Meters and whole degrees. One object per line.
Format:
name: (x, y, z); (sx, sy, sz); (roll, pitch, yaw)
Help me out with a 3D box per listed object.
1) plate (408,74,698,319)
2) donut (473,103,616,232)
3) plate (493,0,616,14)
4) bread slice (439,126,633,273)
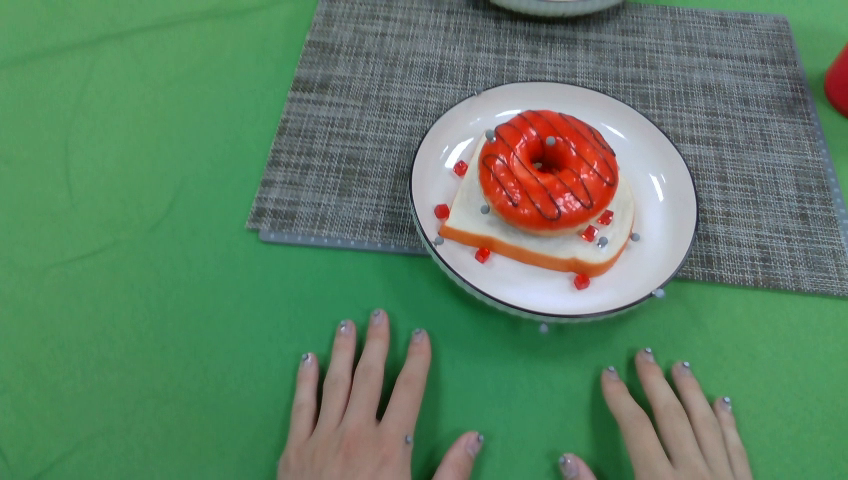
plate: (0.092, -0.035, 0.450); (0.209, 0.038, 0.207); (1, 60, -1)
donut: (0.082, -0.050, 0.419); (0.099, 0.048, 0.098); (0, 61, 0)
plate: (0.119, -0.289, 0.597); (0.208, 0.039, 0.205); (1, 58, -2)
bread slice: (0.089, -0.032, 0.451); (0.131, 0.019, 0.104); (17, 61, 9)
